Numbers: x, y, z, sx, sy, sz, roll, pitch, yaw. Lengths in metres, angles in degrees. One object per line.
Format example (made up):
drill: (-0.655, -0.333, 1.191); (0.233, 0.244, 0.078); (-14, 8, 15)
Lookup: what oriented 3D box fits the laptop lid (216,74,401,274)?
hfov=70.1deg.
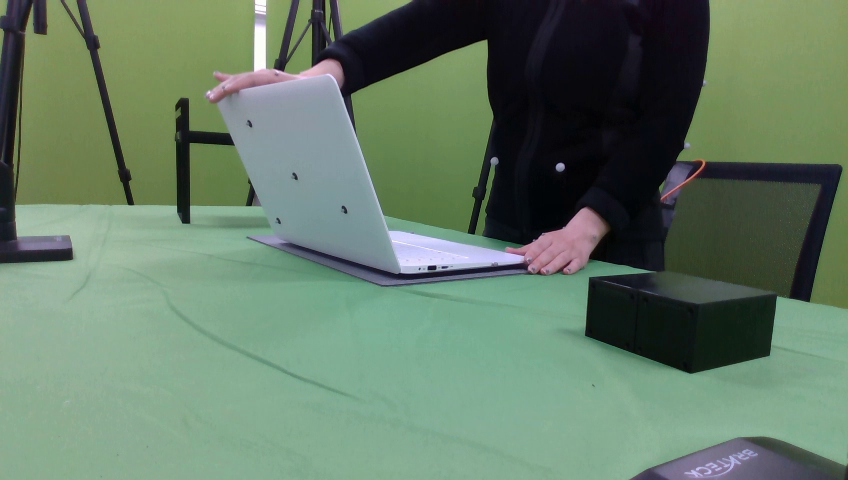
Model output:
laptop lid: (-0.165, -0.085, 0.780); (0.013, 0.242, 0.355); (-32, 27, -30)

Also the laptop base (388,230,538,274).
laptop base: (-0.037, 0.014, 0.895); (0.237, 0.023, 0.352); (1, 7, -38)
